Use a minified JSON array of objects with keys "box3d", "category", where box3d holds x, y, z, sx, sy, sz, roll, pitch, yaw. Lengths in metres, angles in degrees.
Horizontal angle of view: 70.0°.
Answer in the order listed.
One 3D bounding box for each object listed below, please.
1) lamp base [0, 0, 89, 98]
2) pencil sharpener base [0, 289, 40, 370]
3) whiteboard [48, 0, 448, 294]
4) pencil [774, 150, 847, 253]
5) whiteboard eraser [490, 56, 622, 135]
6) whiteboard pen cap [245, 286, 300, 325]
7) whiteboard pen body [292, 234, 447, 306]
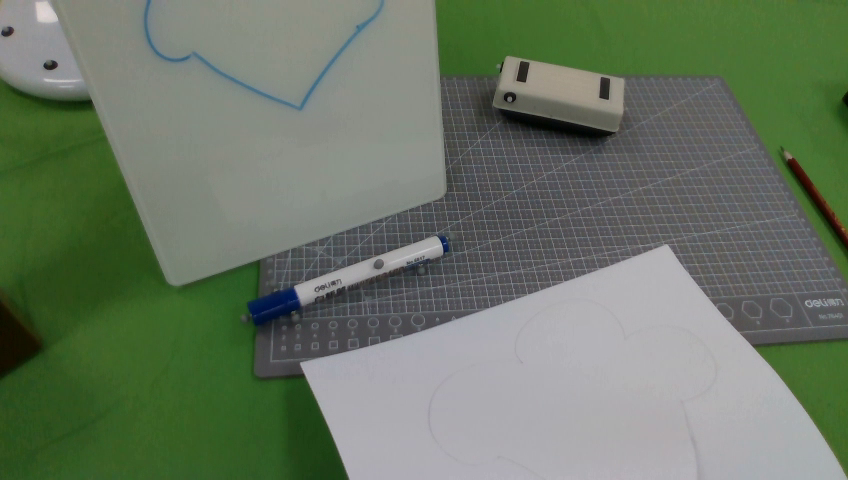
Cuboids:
[{"box3d":[-0.307,-0.235,0.486,0.178,0.182,0.160,30,56,18],"category":"lamp base"},{"box3d":[-0.281,0.039,0.333,0.061,0.108,0.076,38,58,19],"category":"pencil sharpener base"},{"box3d":[-0.118,-0.155,0.410,0.217,0.308,0.142,-20,39,-19],"category":"whiteboard"},{"box3d":[0.347,-0.010,0.511,0.012,0.012,0.192,-5,52,-10],"category":"pencil"},{"box3d":[0.119,-0.128,0.544,0.112,0.042,0.055,13,54,3],"category":"whiteboard eraser"},{"box3d":[-0.100,0.043,0.403,0.033,0.018,0.018,-21,59,-19],"category":"whiteboard pen cap"},{"box3d":[-0.048,0.024,0.422,0.141,0.017,0.017,-20,58,-19],"category":"whiteboard pen body"}]
